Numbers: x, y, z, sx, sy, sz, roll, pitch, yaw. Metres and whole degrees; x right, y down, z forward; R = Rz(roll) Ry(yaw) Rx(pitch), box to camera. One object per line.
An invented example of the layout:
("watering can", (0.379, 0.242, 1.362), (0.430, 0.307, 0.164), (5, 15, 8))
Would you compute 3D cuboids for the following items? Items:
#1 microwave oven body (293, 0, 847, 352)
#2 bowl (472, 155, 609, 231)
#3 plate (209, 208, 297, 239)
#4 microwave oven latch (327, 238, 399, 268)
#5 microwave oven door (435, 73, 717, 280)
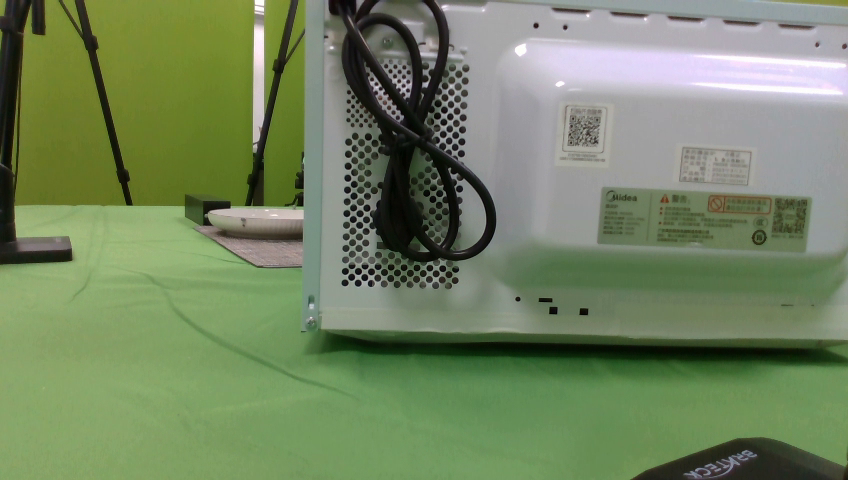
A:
("microwave oven body", (0.122, -0.055, 0.550), (0.442, 0.260, 0.325), (3, 7, -5))
("bowl", (0.131, -0.052, 0.679), (0.151, 0.077, 0.151), (-4, 5, 1))
("plate", (-0.271, -0.029, 1.074), (0.208, 0.039, 0.207), (3, 7, 0))
("microwave oven latch", (-0.069, 0.015, 0.694), (0.079, 0.029, 0.030), (3, 7, -3))
("microwave oven door", (0.180, -0.089, 0.794), (0.354, 0.243, 0.039), (7, 7, 30))
